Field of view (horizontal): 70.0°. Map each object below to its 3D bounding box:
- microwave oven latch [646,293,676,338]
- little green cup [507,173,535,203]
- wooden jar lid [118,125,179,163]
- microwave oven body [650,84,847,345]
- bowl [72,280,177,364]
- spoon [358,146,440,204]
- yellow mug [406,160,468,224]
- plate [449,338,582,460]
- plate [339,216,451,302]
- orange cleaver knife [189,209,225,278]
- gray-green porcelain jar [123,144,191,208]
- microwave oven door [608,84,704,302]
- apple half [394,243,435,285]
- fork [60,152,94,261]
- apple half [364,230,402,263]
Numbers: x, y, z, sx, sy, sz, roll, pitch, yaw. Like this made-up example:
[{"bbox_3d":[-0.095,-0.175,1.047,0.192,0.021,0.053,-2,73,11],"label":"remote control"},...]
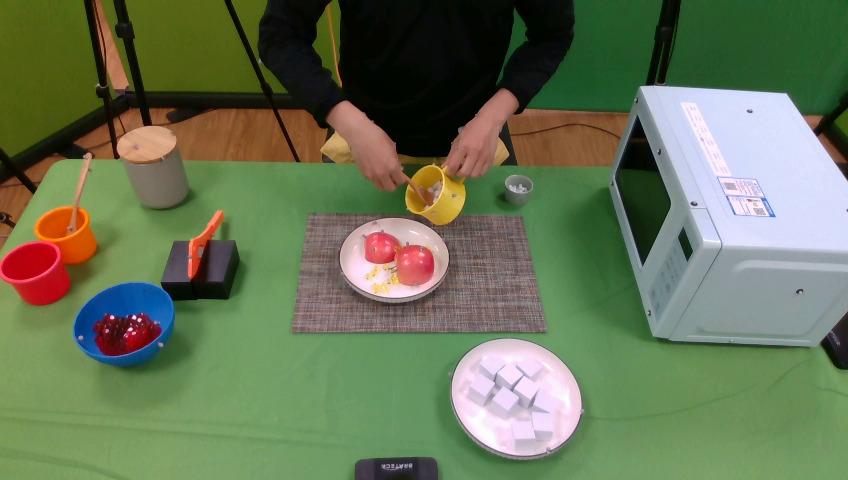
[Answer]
[{"bbox_3d":[0.412,0.133,1.060,0.030,0.029,0.078,3,46,0],"label":"microwave oven latch"},{"bbox_3d":[0.206,-0.111,1.301,0.061,0.039,0.061,1,45,-1],"label":"little green cup"},{"bbox_3d":[-0.528,-0.181,1.167,0.108,0.021,0.107,4,48,-4],"label":"wooden jar lid"},{"bbox_3d":[0.569,-0.054,1.116,0.326,0.261,0.439,2,46,-1],"label":"microwave oven body"},{"bbox_3d":[-0.472,0.147,0.982,0.151,0.077,0.150,2,46,-2],"label":"bowl"},{"bbox_3d":[-0.040,-0.121,1.134,0.194,0.021,0.041,36,38,-18],"label":"spoon"},{"bbox_3d":[0.033,-0.100,1.152,0.064,0.131,0.099,26,22,-43],"label":"yellow mug"},{"bbox_3d":[0.141,0.251,0.956,0.208,0.039,0.206,2,47,-2],"label":"plate"},{"bbox_3d":[-0.054,0.038,1.137,0.209,0.038,0.208,2,46,-2],"label":"plate"},{"bbox_3d":[-0.401,0.002,1.122,0.012,0.077,0.210,4,23,-4],"label":"orange cleaver knife"},{"bbox_3d":[-0.530,-0.137,1.213,0.106,0.127,0.105,2,46,-2],"label":"gray-green porcelain jar"},{"bbox_3d":[0.424,-0.096,1.138,0.039,0.245,0.353,2,47,-1],"label":"microwave oven door"},{"bbox_3d":[-0.017,0.037,1.121,0.075,0.053,0.080,1,45,-6],"label":"apple half"},{"bbox_3d":[-0.638,-0.063,1.119,0.028,0.018,0.207,12,90,7],"label":"fork"},{"bbox_3d":[-0.079,0.004,1.160,0.081,0.033,0.081,3,50,-3],"label":"apple half"}]
